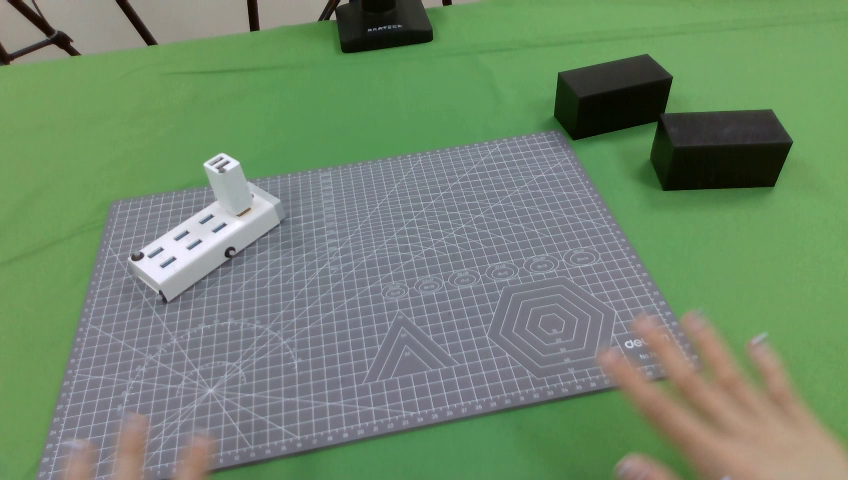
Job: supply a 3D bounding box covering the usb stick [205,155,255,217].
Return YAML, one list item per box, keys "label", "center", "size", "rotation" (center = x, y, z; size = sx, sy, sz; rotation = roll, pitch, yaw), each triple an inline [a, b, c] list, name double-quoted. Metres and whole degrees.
- label: "usb stick"
  center: [-0.163, -0.041, 0.516]
  size: [0.027, 0.060, 0.021]
  rotation: [24, 52, 31]

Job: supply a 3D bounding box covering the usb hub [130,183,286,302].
- label: "usb hub"
  center: [-0.184, -0.002, 0.524]
  size: [0.049, 0.025, 0.125]
  rotation: [29, 53, 30]
